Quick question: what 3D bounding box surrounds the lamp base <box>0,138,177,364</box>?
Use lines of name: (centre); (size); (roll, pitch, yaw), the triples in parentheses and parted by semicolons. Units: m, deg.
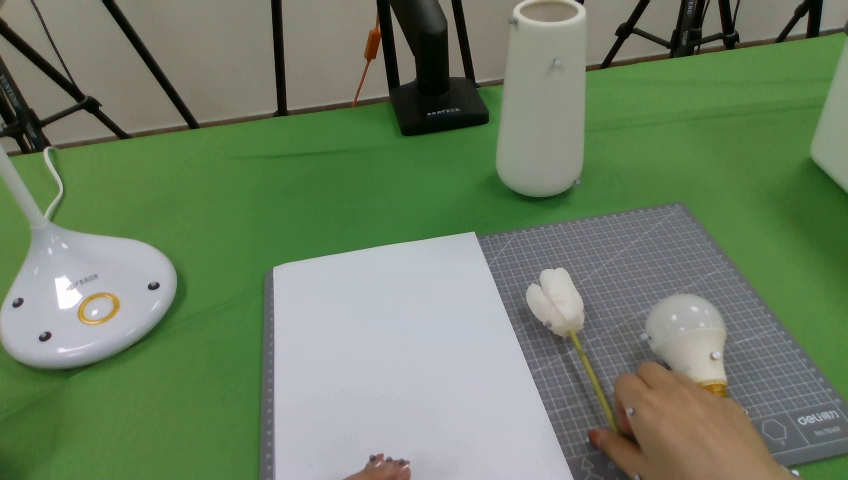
lamp base: (-0.335, -0.008, 0.538); (0.177, 0.182, 0.160); (26, 50, 33)

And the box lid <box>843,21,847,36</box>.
box lid: (0.563, -0.117, 0.483); (0.263, 0.015, 0.367); (-9, 43, -3)

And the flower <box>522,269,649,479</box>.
flower: (0.151, 0.160, 0.437); (0.044, 0.038, 0.357); (-33, 46, 14)

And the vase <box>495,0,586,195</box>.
vase: (0.124, -0.146, 0.642); (0.098, 0.202, 0.097); (-3, 41, 3)

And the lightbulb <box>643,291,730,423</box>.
lightbulb: (0.212, 0.091, 0.479); (0.059, 0.060, 0.106); (-6, 57, -2)

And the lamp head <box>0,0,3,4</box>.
lamp head: (-0.296, -0.163, 0.300); (0.123, 0.112, 0.112); (47, 54, -3)

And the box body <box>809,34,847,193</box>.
box body: (0.576, -0.065, 0.543); (0.254, 0.162, 0.360); (-8, 42, -4)
